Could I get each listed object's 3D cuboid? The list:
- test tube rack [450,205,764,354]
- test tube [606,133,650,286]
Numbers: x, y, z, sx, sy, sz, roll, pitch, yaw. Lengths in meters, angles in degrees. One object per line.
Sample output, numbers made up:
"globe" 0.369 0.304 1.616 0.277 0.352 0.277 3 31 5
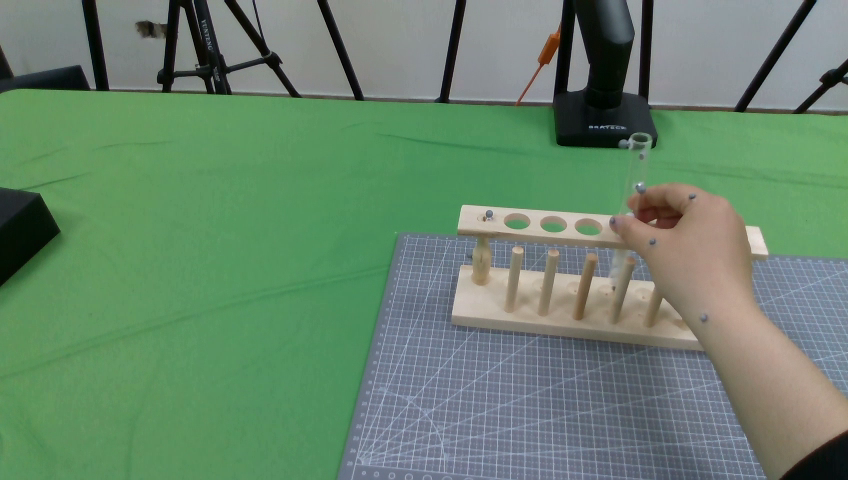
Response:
"test tube rack" 0.146 0.032 0.511 0.242 0.086 0.066 5 42 7
"test tube" 0.162 -0.018 0.486 0.017 0.151 0.017 -3 41 3
